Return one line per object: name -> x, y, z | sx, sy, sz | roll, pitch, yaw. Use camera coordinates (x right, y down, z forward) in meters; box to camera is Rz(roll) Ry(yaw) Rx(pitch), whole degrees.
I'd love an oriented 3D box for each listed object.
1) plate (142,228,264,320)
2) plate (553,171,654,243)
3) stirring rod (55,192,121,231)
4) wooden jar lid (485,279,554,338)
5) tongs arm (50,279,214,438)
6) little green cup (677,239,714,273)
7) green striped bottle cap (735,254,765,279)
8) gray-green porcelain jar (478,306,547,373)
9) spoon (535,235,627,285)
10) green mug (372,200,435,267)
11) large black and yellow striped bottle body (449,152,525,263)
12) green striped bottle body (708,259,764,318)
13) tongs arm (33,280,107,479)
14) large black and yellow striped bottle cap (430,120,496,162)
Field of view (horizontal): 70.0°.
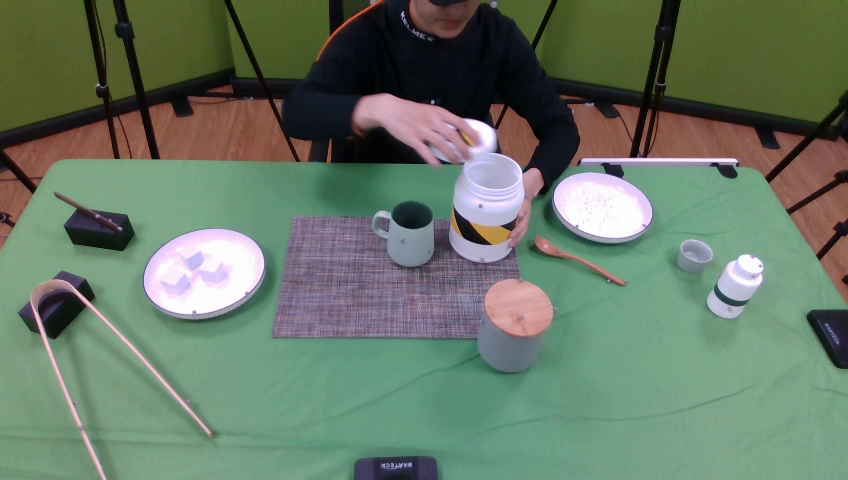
plate -> -0.394, 0.064, 1.095 | 0.208, 0.039, 0.206 | 2, 46, -2
plate -> 0.373, -0.066, 1.274 | 0.209, 0.038, 0.208 | 2, 46, -2
stirring rod -> -0.632, -0.055, 1.138 | 0.175, 0.014, 0.006 | 24, 50, 19
wooden jar lid -> 0.147, 0.108, 0.940 | 0.108, 0.021, 0.107 | 4, 47, -5
tongs arm -> -0.459, 0.178, 0.949 | 0.386, 0.028, 0.028 | 37, 60, 17
little green cup -> 0.530, 0.033, 1.190 | 0.061, 0.039, 0.061 | 2, 47, -2
green striped bottle cap -> 0.566, 0.046, 1.051 | 0.044, 0.020, 0.044 | 0, 45, 0
gray-green porcelain jar -> 0.144, 0.148, 0.989 | 0.106, 0.127, 0.105 | 2, 50, -2
spoon -> 0.304, 0.040, 1.178 | 0.193, 0.022, 0.041 | 26, 35, 20
green mug -> -0.040, -0.015, 1.146 | 0.125, 0.105, 0.092 | 16, 48, 12
large black and yellow striped bottle body -> 0.119, -0.062, 1.145 | 0.131, 0.185, 0.130 | 2, 46, -2
green striped bottle body -> 0.563, 0.081, 1.089 | 0.063, 0.120, 0.063 | 2, 46, -2
tongs arm -> -0.517, 0.214, 0.909 | 0.051, 0.026, 0.383 | -29, 63, -27
large black and yellow striped bottle cap -> 0.066, -0.172, 1.043 | 0.115, 0.019, 0.114 | -2, 41, 2
